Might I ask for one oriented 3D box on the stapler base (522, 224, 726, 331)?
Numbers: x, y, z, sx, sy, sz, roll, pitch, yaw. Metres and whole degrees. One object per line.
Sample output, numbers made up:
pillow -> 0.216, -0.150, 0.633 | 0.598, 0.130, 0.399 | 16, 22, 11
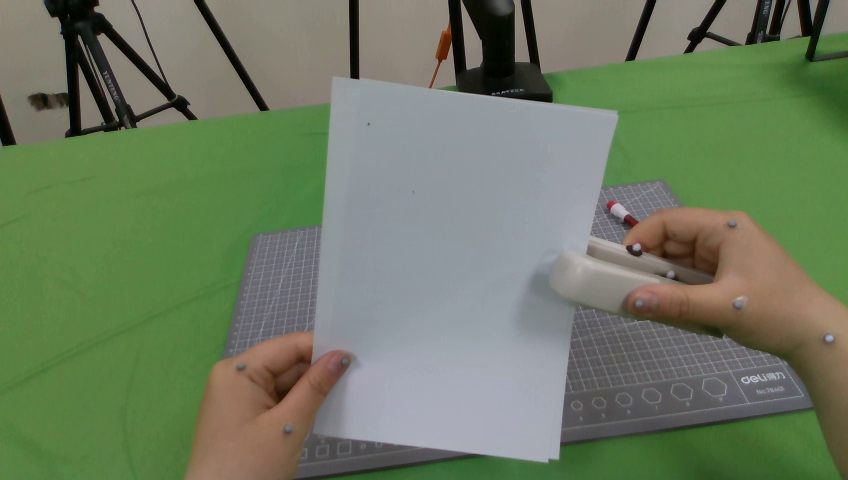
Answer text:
stapler base -> 0.127, 0.026, 0.372 | 0.131, 0.041, 0.024 | 16, 14, -10

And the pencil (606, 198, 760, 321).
pencil -> 0.229, 0.012, 0.554 | 0.012, 0.012, 0.192 | -20, 41, -15

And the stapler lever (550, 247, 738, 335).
stapler lever -> 0.130, 0.031, 0.351 | 0.118, 0.027, 0.040 | 16, 14, -7
